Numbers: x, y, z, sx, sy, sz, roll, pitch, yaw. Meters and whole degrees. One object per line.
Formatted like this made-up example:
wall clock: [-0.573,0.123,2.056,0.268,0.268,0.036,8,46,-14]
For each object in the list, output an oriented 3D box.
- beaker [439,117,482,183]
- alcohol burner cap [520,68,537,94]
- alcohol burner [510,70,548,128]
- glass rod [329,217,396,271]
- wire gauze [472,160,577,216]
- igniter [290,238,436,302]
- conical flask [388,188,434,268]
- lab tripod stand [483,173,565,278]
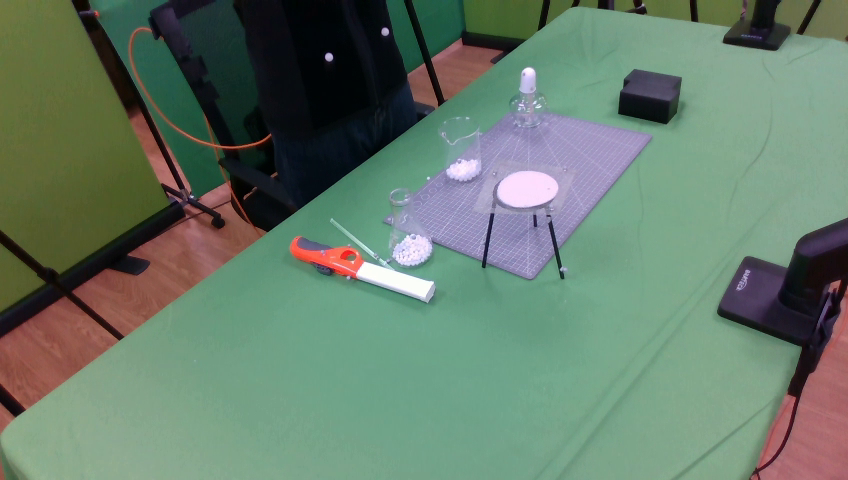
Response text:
beaker: [0.068,-0.160,1.097,0.073,0.101,0.084,7,43,19]
alcohol burner cap: [0.205,-0.313,1.183,0.034,0.048,0.033,-3,50,4]
alcohol burner: [0.209,-0.287,1.207,0.078,0.119,0.077,-5,42,5]
glass rod: [-0.105,0.005,1.009,0.008,0.008,0.198,-32,45,-24]
wire gauze: [0.143,-0.073,0.850,0.121,0.011,0.125,8,43,22]
igniter: [-0.106,0.043,0.949,0.274,0.025,0.057,16,57,27]
conical flask: [-0.028,-0.022,0.937,0.075,0.122,0.075,-6,40,5]
lab tripod stand: [0.151,-0.025,0.896,0.148,0.132,0.147,-7,40,6]
